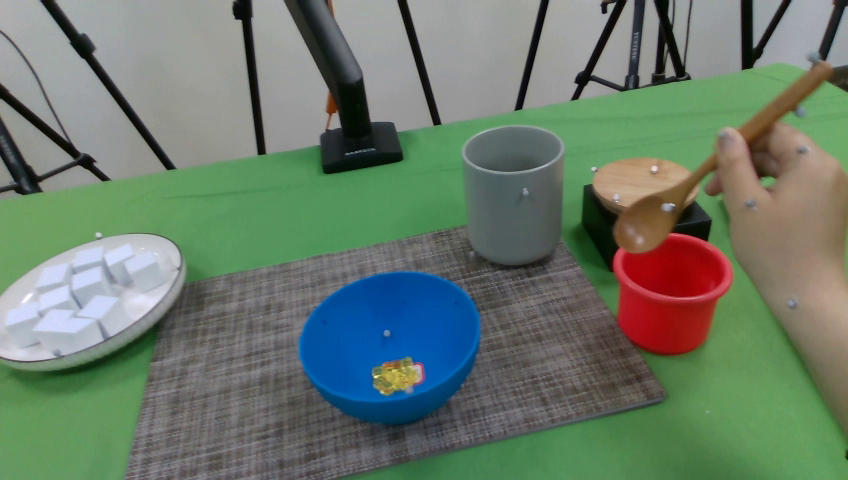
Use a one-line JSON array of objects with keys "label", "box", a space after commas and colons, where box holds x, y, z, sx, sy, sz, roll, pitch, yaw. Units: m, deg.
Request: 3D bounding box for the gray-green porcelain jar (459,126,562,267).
[{"label": "gray-green porcelain jar", "box": [0.094, -0.043, 0.655, 0.106, 0.127, 0.105, -5, 37, 4]}]

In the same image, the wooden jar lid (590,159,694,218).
[{"label": "wooden jar lid", "box": [0.236, -0.054, 0.657, 0.108, 0.021, 0.107, -5, 36, 4]}]

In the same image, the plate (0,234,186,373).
[{"label": "plate", "box": [-0.363, 0.069, 0.662, 0.209, 0.038, 0.207, -5, 36, 4]}]

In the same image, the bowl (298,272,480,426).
[{"label": "bowl", "box": [-0.025, 0.104, 0.518, 0.151, 0.077, 0.150, -5, 36, 4]}]

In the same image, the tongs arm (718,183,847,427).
[{"label": "tongs arm", "box": [0.345, 0.056, 0.569, 0.028, 0.028, 0.384, -1, 37, 5]}]

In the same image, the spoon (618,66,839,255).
[{"label": "spoon", "box": [0.200, -0.046, 0.420, 0.022, 0.194, 0.041, -4, 61, -23]}]
